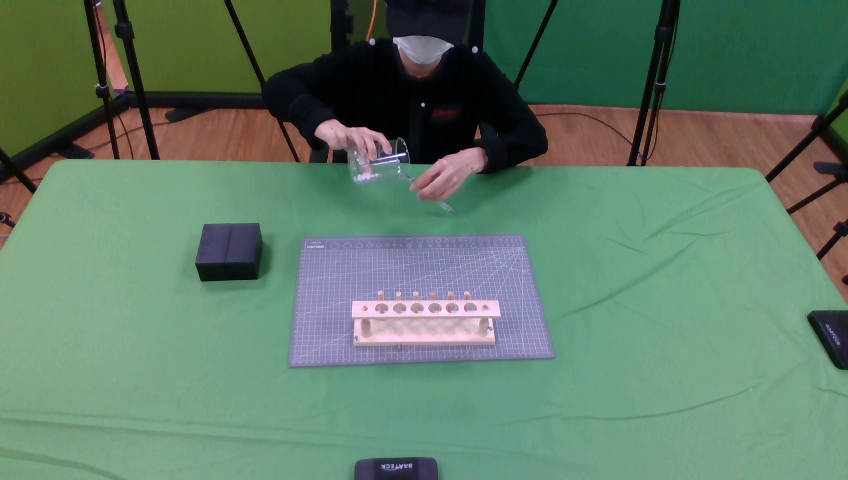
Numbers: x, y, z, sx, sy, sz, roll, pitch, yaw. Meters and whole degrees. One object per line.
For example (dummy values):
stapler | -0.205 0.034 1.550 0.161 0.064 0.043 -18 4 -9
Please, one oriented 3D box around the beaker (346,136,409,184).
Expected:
beaker | -0.086 -0.142 1.108 0.100 0.084 0.073 -12 36 -18

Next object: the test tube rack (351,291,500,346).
test tube rack | 0.001 0.129 1.026 0.242 0.085 0.066 0 46 -4

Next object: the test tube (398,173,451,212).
test tube | 0.004 -0.091 1.194 0.017 0.151 0.017 -24 51 34
